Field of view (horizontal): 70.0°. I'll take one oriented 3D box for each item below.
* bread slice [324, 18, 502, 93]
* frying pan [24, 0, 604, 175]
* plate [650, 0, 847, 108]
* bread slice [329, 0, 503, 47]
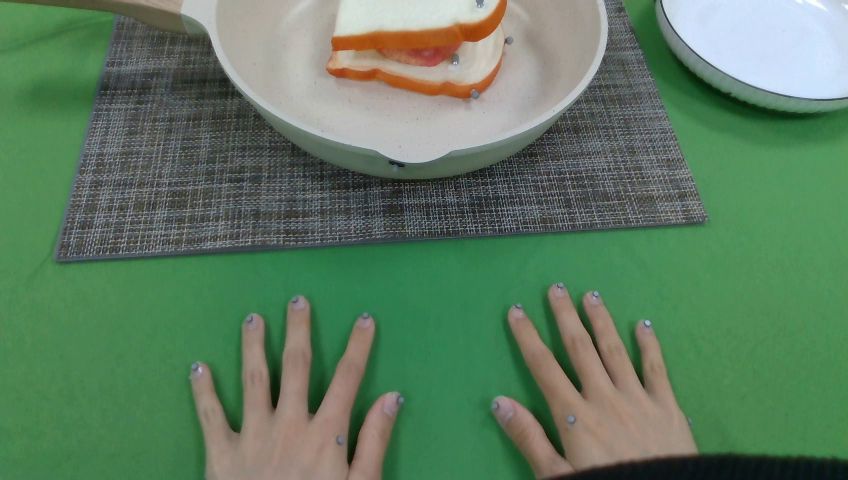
[{"bbox_3d":[-0.004,-0.167,0.502,0.134,0.018,0.106,10,60,3],"label":"bread slice"},{"bbox_3d":[-0.116,-0.173,0.455,0.489,0.103,0.304,5,57,-10],"label":"frying pan"},{"bbox_3d":[0.298,-0.189,0.531,0.208,0.039,0.205,2,59,-2],"label":"plate"},{"bbox_3d":[-0.003,-0.195,0.466,0.131,0.019,0.104,1,65,11],"label":"bread slice"}]
